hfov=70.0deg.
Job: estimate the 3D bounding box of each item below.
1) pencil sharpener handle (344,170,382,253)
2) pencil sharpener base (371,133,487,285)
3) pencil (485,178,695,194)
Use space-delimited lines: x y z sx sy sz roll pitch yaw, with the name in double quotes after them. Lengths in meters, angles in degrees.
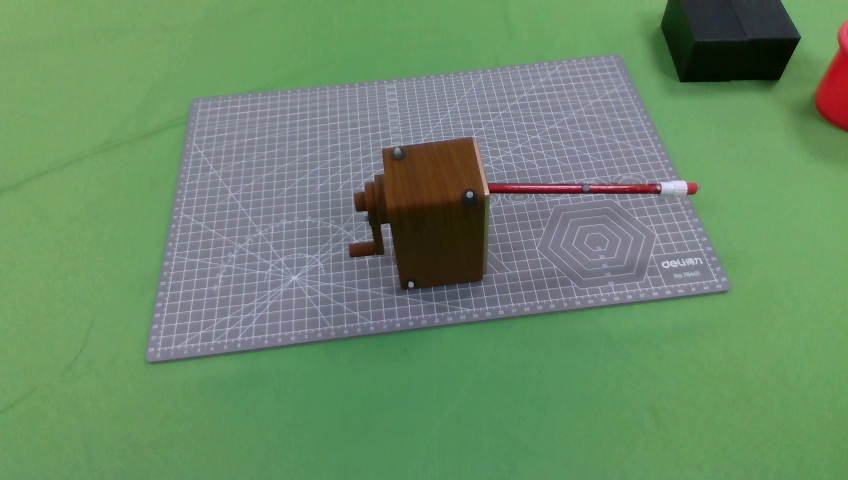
-0.047 -0.017 0.440 0.030 0.068 0.035 -7 39 -2 "pencil sharpener handle"
0.004 -0.019 0.454 0.077 0.108 0.060 -7 54 -2 "pencil sharpener base"
0.105 -0.040 0.442 0.194 0.012 0.012 0 53 -7 "pencil"
